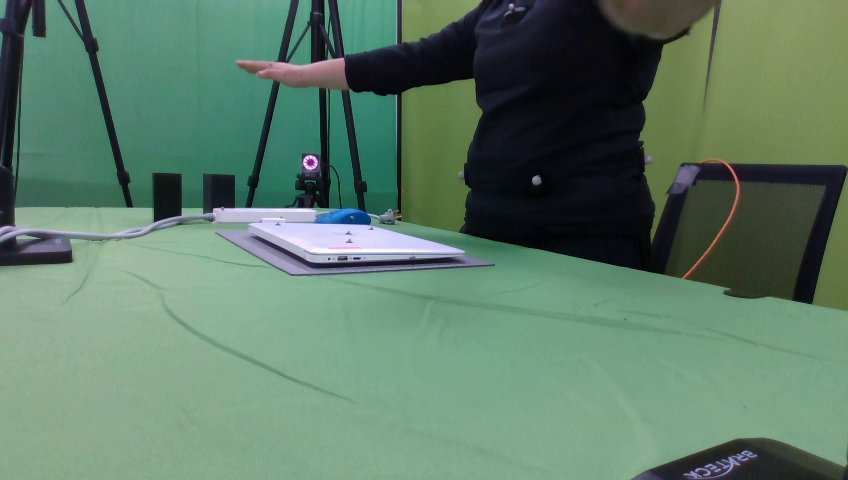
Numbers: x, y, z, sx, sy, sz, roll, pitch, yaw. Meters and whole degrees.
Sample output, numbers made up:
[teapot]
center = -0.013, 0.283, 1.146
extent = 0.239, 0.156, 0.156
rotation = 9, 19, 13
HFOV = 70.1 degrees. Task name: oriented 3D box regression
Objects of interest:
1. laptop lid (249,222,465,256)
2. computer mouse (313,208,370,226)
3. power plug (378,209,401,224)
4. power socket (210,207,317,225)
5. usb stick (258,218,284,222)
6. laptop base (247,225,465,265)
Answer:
[laptop lid]
center = -0.122, -0.005, 0.954
extent = 0.243, 0.013, 0.355
rotation = 1, 7, -28
[computer mouse]
center = -0.176, -0.046, 1.292
extent = 0.118, 0.041, 0.062
rotation = -7, 13, -34
[power plug]
center = -0.082, -0.060, 1.421
extent = 0.053, 0.035, 0.072
rotation = -16, 19, -4
[power socket]
center = -0.335, -0.051, 1.281
extent = 0.228, 0.032, 0.072
rotation = -2, 9, -29
[usb stick]
center = -0.290, -0.028, 1.118
extent = 0.059, 0.027, 0.021
rotation = -6, 7, -27
[laptop base]
center = -0.125, 0.007, 0.955
extent = 0.237, 0.023, 0.352
rotation = 2, 6, -30
